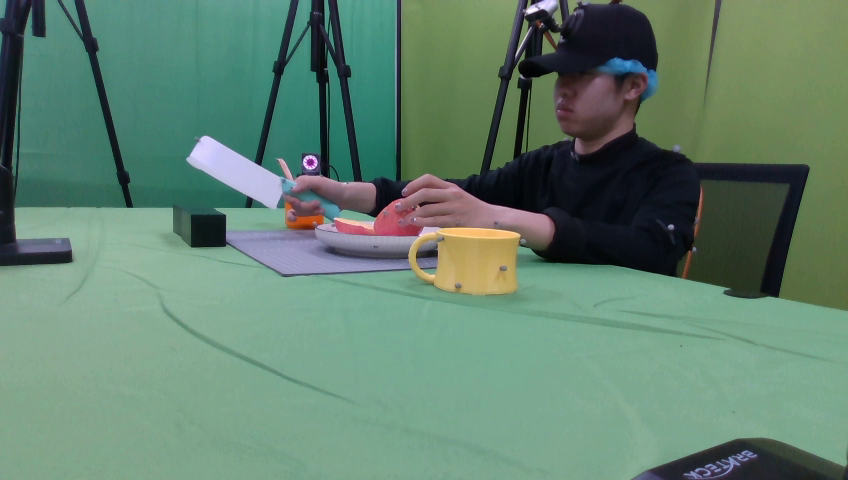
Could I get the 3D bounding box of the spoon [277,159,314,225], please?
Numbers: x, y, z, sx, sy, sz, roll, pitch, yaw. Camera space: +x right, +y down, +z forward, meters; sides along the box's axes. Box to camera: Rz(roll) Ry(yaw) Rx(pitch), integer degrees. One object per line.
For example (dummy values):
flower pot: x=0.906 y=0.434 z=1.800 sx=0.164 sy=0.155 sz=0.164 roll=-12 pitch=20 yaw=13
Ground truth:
spoon: x=-0.272 y=-0.103 z=1.260 sx=0.042 sy=0.193 sz=0.021 roll=-5 pitch=-34 yaw=-33

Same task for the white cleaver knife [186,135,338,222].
white cleaver knife: x=-0.275 y=-0.092 z=1.066 sx=0.288 sy=0.066 sz=0.021 roll=28 pitch=-18 yaw=-30

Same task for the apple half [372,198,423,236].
apple half: x=-0.036 y=-0.021 z=0.929 sx=0.074 sy=0.053 sz=0.081 roll=-39 pitch=-17 yaw=9

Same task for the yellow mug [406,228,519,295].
yellow mug: x=0.044 y=0.022 z=0.706 sx=0.131 sy=0.064 sz=0.100 roll=2 pitch=7 yaw=5

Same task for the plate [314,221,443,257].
plate: x=-0.066 y=-0.002 z=0.948 sx=0.209 sy=0.038 sz=0.209 roll=3 pitch=7 yaw=0

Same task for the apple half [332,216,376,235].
apple half: x=-0.110 y=-0.012 z=0.972 sx=0.081 sy=0.033 sz=0.081 roll=16 pitch=7 yaw=-2
